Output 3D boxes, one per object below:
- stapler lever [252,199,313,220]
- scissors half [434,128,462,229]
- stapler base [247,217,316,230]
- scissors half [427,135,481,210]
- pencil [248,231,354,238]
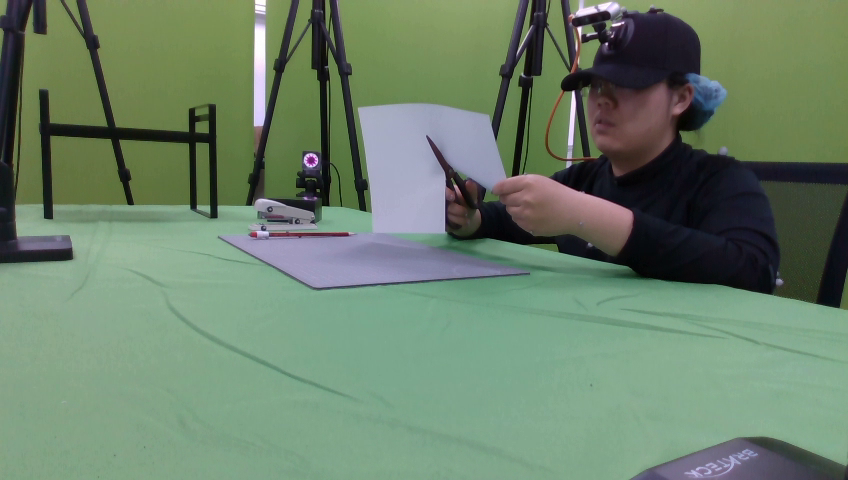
[{"bbox_3d":[-0.273,-0.058,1.170,0.119,0.040,0.026,0,10,-37],"label":"stapler lever"},{"bbox_3d":[0.033,-0.094,0.961,0.013,0.175,0.040,17,38,42],"label":"scissors half"},{"bbox_3d":[-0.276,-0.033,1.172,0.131,0.024,0.041,0,10,-37],"label":"stapler base"},{"bbox_3d":[0.048,-0.109,0.970,0.012,0.040,0.176,22,-17,45],"label":"scissors half"},{"bbox_3d":[-0.206,-0.008,1.039,0.195,0.012,0.012,0,8,-36],"label":"pencil"}]
